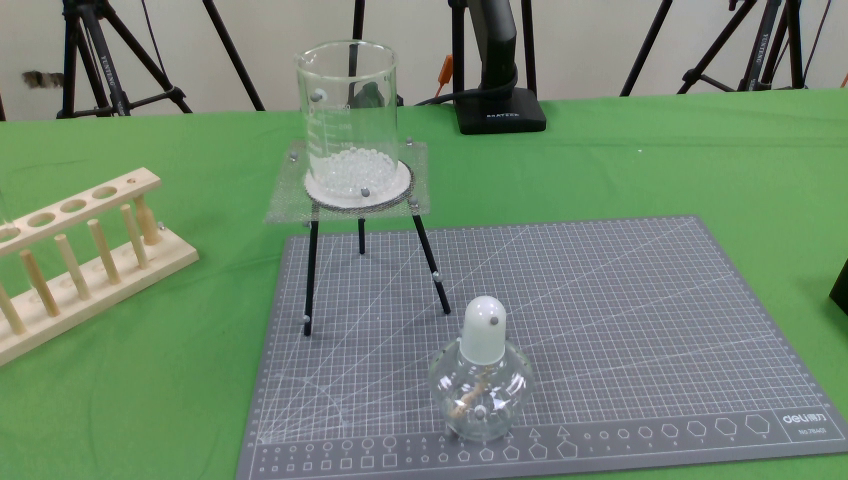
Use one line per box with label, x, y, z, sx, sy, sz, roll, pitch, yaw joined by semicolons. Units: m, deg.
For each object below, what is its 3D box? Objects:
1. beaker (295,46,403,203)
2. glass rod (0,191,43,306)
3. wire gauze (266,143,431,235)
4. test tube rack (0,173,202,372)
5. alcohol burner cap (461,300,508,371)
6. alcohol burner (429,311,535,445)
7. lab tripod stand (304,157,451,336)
beaker;-0.057;-0.086;0.460;0.083;0.101;0.074;22;42;25
glass rod;-0.358;-0.027;0.513;0.008;0.201;0.008;0;30;0
wire gauze;-0.056;-0.046;0.488;0.121;0.011;0.124;-1;39;-1
test tube rack;-0.334;0.033;0.544;0.066;0.086;0.242;28;46;33
alcohol burner cap;0.042;0.062;0.409;0.034;0.048;0.033;1;38;-1
alcohol burner;0.042;0.090;0.430;0.078;0.120;0.077;0;39;0
lab tripod stand;-0.046;0.005;0.530;0.148;0.132;0.147;1;36;0
